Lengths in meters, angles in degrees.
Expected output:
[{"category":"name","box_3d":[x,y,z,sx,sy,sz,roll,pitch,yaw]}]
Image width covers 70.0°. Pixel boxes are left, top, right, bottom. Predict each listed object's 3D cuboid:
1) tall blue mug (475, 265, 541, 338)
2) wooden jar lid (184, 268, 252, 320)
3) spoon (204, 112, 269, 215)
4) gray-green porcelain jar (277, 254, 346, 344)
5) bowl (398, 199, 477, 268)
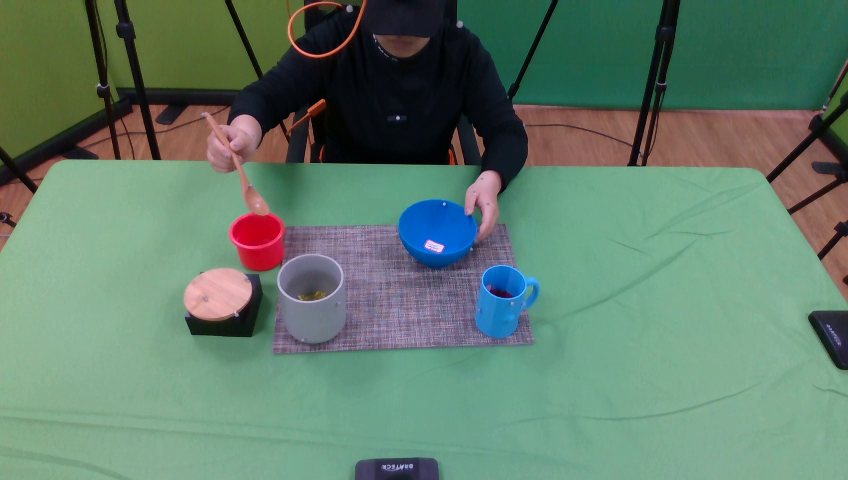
[{"category":"tall blue mug","box_3d":[0.142,0.098,1.047,0.077,0.108,0.107,33,52,27]},{"category":"wooden jar lid","box_3d":[-0.343,0.092,1.015,0.108,0.021,0.107,3,46,-3]},{"category":"spoon","box_3d":[-0.316,-0.128,1.022,0.021,0.194,0.041,-16,14,31]},{"category":"gray-green porcelain jar","box_3d":[-0.184,0.102,1.008,0.106,0.127,0.105,2,46,-2]},{"category":"bowl","box_3d":[0.024,-0.001,1.156,0.151,0.077,0.150,2,46,-2]}]
